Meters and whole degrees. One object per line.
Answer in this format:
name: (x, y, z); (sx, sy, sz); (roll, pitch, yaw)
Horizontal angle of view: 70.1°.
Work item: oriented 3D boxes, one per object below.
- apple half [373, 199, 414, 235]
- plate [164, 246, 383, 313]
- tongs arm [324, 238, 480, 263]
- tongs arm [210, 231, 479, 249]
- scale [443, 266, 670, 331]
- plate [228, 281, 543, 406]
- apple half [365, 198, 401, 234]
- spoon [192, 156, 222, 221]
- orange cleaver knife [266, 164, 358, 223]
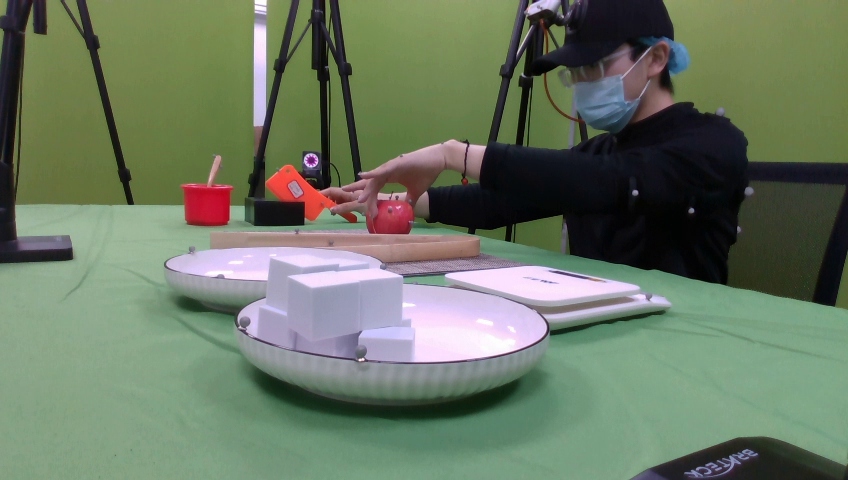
apple half: (-0.044, -0.032, 0.999); (0.082, 0.081, 0.032); (-2, 5, -31)
plate: (-0.145, 0.038, 0.600); (0.209, 0.038, 0.209); (2, 7, 0)
tongs arm: (-0.070, 0.018, 0.800); (0.390, 0.028, 0.028); (-2, 5, -34)
tongs arm: (-0.106, 0.005, 0.876); (0.386, 0.026, 0.050); (1, 7, -20)
scale: (0.131, 0.052, 0.603); (0.202, 0.031, 0.148); (-2, 9, -37)
plate: (-0.025, 0.067, 0.413); (0.208, 0.039, 0.207); (3, 7, 0)
apple half: (-0.066, -0.035, 1.031); (0.081, 0.074, 0.053); (-7, 7, -31)
spoon: (-0.430, -0.108, 1.222); (0.041, 0.021, 0.193); (-1, 52, 0)
orange cleaver knife: (-0.238, -0.082, 1.296); (0.212, 0.077, 0.012); (35, -9, -27)
